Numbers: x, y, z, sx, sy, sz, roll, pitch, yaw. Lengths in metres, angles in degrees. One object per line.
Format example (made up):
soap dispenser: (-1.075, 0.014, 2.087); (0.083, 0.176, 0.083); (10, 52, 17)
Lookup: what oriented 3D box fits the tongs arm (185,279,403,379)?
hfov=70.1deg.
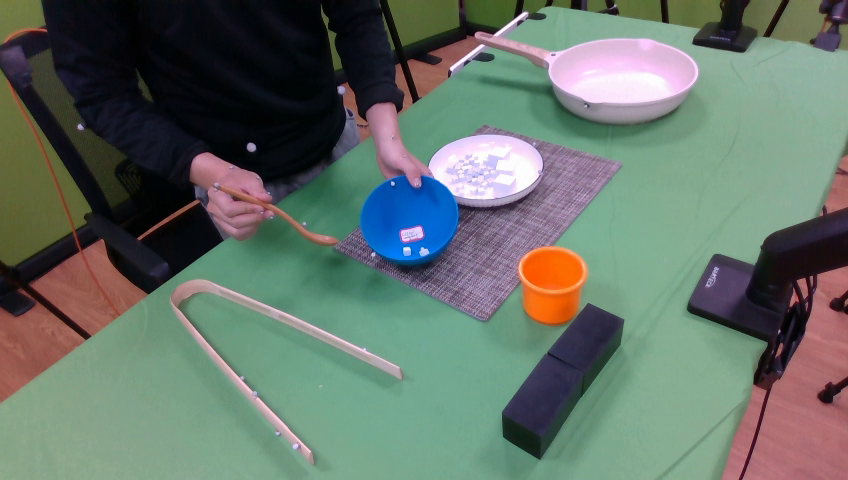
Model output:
tongs arm: (-0.194, 0.120, 0.853); (0.385, 0.028, 0.028); (17, 49, 26)

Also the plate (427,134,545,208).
plate: (0.110, -0.119, 1.073); (0.207, 0.039, 0.206); (-4, 41, 4)

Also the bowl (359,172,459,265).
bowl: (-0.019, -0.020, 0.928); (0.151, 0.077, 0.150); (-3, 63, 6)

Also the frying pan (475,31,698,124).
frying pan: (0.320, -0.371, 1.290); (0.485, 0.103, 0.307); (28, 50, 23)

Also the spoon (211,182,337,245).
spoon: (-0.199, -0.035, 0.819); (0.041, 0.195, 0.021); (23, 83, 54)

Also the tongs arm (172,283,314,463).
tongs arm: (-0.246, 0.161, 0.806); (0.381, 0.026, 0.051); (29, 51, 36)
